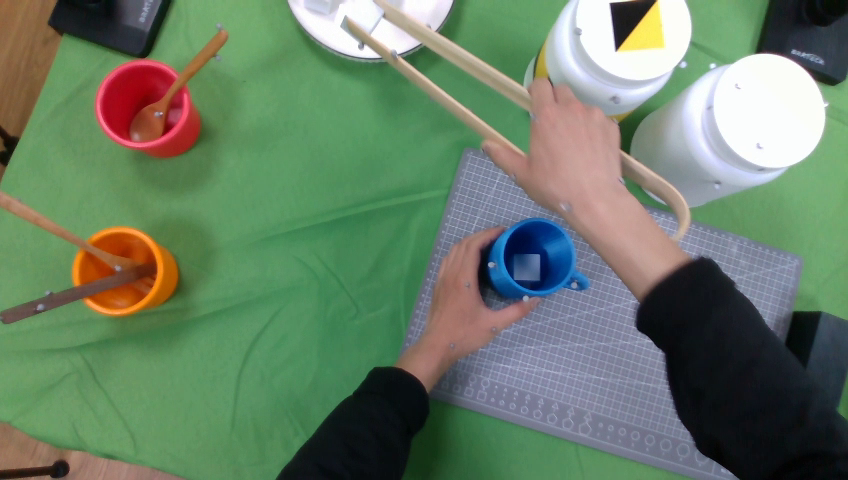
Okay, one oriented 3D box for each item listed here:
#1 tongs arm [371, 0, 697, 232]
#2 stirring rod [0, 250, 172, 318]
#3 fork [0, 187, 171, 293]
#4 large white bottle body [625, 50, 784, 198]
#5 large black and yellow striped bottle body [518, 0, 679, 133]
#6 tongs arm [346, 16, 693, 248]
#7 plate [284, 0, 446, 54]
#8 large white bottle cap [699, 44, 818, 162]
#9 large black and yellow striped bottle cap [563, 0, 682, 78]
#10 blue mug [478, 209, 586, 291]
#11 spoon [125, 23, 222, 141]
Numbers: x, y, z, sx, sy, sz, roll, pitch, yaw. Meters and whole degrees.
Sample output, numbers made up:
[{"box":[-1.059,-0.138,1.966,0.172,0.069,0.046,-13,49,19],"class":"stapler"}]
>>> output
[{"box":[0.090,-0.131,0.575,0.385,0.028,0.028,38,69,16],"class":"tongs arm"},{"box":[-0.340,0.042,0.621,0.176,0.006,0.014,-26,90,-49],"class":"stirring rod"},{"box":[-0.351,-0.001,0.618,0.028,0.018,0.209,-56,134,-9],"class":"fork"},{"box":[0.319,-0.124,0.673,0.131,0.185,0.130,1,84,-5],"class":"large white bottle body"},{"box":[0.186,-0.204,0.669,0.131,0.184,0.130,1,84,-5],"class":"large black and yellow striped bottle body"},{"box":[0.074,-0.113,0.568,0.382,0.027,0.050,42,74,17],"class":"tongs arm"},{"box":[-0.071,-0.321,0.730,0.208,0.039,0.207,1,85,-5],"class":"plate"},{"box":[0.326,-0.134,0.589,0.115,0.018,0.114,1,84,-6],"class":"large white bottle cap"},{"box":[0.193,-0.215,0.586,0.115,0.019,0.114,1,86,-6],"class":"large black and yellow striped bottle cap"},{"box":[0.125,0.021,0.679,0.116,0.106,0.082,24,82,-3],"class":"blue mug"},{"box":[-0.269,-0.166,0.645,0.193,0.022,0.041,-31,82,36],"class":"spoon"}]
